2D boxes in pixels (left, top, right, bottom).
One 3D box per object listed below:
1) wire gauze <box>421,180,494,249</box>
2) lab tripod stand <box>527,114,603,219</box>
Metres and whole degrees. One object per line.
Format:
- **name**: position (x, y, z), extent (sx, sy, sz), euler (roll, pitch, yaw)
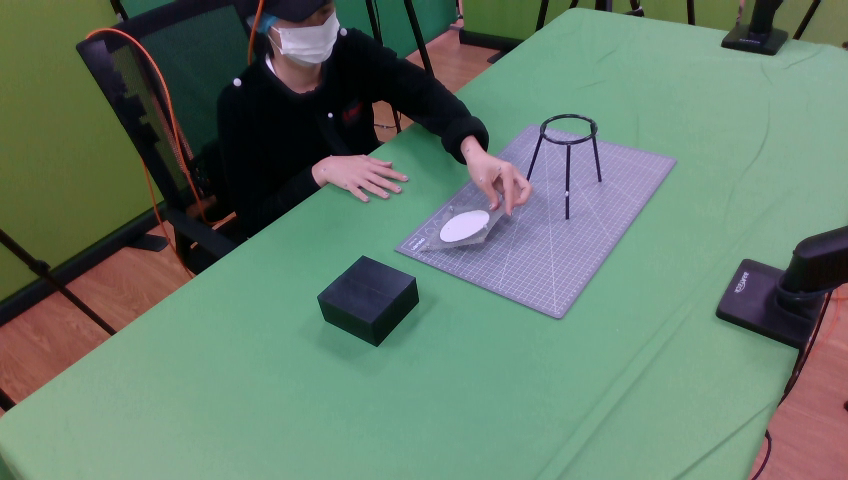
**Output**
- **wire gauze**: position (0.057, -0.039, 0.971), extent (0.124, 0.011, 0.121), euler (-23, 30, 22)
- **lab tripod stand**: position (0.234, -0.129, 1.002), extent (0.148, 0.132, 0.147), euler (-6, 40, 6)
